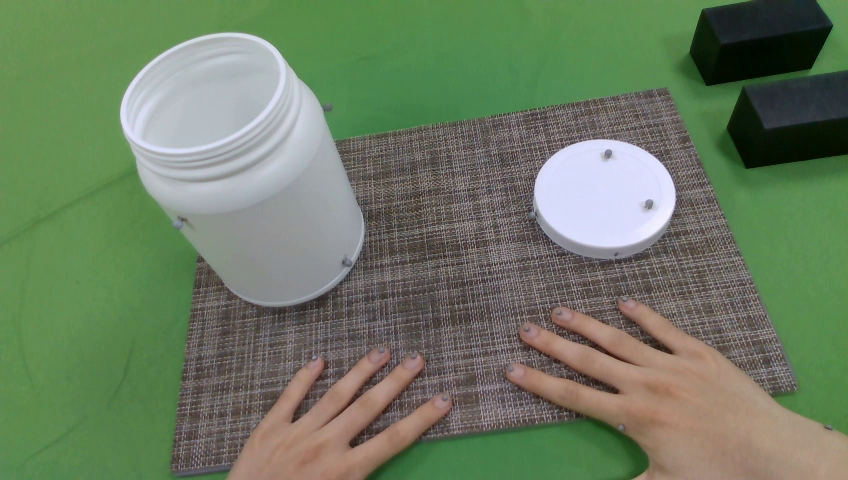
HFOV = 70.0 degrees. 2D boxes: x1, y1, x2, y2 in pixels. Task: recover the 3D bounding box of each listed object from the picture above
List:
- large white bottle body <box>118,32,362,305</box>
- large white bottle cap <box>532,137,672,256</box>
[{"bbox_3d":[-0.128,-0.047,0.456,0.130,0.186,0.129,-4,57,7],"label":"large white bottle body"},{"bbox_3d":[0.148,-0.039,0.512,0.115,0.018,0.114,-4,58,6],"label":"large white bottle cap"}]
